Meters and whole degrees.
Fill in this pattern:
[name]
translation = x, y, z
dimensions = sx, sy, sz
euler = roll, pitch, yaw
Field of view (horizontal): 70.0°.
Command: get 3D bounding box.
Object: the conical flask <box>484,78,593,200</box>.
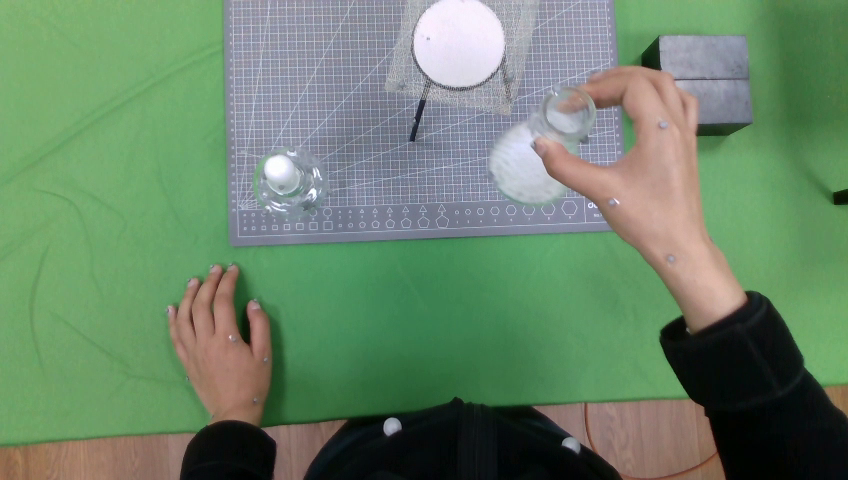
[conical flask]
translation = 0.091, -0.079, 0.457
dimensions = 0.075, 0.122, 0.075
euler = 1, 80, -4

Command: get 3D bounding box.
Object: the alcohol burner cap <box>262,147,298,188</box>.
[alcohol burner cap]
translation = -0.141, -0.072, 0.584
dimensions = 0.034, 0.048, 0.033
euler = 1, 81, -6

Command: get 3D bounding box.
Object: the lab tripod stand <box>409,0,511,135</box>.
[lab tripod stand]
translation = 0.027, -0.185, 0.628
dimensions = 0.148, 0.131, 0.148
euler = 0, 85, -1

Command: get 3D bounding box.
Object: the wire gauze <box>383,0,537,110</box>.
[wire gauze]
translation = 0.035, -0.190, 0.561
dimensions = 0.121, 0.011, 0.125
euler = 15, 85, -2

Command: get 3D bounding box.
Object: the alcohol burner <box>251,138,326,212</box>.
[alcohol burner]
translation = -0.142, -0.069, 0.620
dimensions = 0.078, 0.119, 0.078
euler = 0, 87, -2
